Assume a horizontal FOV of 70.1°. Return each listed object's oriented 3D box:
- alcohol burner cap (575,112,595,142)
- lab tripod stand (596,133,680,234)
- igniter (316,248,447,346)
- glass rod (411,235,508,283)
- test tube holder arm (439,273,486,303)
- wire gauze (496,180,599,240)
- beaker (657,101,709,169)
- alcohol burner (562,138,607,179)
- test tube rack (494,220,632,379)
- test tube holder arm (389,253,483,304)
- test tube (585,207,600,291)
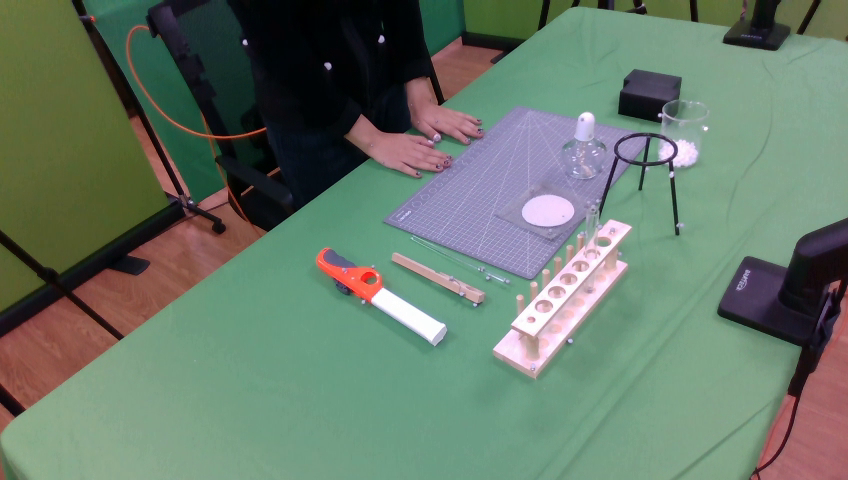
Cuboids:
[{"bbox_3d":[0.276,-0.194,1.028,0.034,0.048,0.033,-2,45,3],"label":"alcohol burner cap"},{"bbox_3d":[0.338,-0.090,0.940,0.148,0.132,0.147,-7,39,6],"label":"lab tripod stand"},{"bbox_3d":[-0.074,0.078,0.902,0.274,0.025,0.057,29,63,36],"label":"igniter"},{"bbox_3d":[0.051,0.028,0.951,0.198,0.008,0.008,25,51,37],"label":"glass rod"},{"bbox_3d":[0.053,0.070,0.896,0.087,0.015,0.010,24,15,33],"label":"test tube holder arm"},{"bbox_3d":[0.206,-0.050,1.012,0.125,0.011,0.120,-34,45,-26],"label":"wire gauze"},{"bbox_3d":[0.449,-0.183,1.054,0.073,0.101,0.084,15,46,27],"label":"beaker"},{"bbox_3d":[0.280,-0.167,1.052,0.078,0.119,0.077,-5,39,4],"label":"alcohol burner"},{"bbox_3d":[0.191,0.068,0.818,0.066,0.085,0.243,25,51,35],"label":"test tube rack"},{"bbox_3d":[0.015,0.056,0.916,0.177,0.015,0.013,24,15,33],"label":"test tube holder arm"},{"bbox_3d":[0.222,0.016,0.797,0.017,0.151,0.017,-6,45,7],"label":"test tube"}]
